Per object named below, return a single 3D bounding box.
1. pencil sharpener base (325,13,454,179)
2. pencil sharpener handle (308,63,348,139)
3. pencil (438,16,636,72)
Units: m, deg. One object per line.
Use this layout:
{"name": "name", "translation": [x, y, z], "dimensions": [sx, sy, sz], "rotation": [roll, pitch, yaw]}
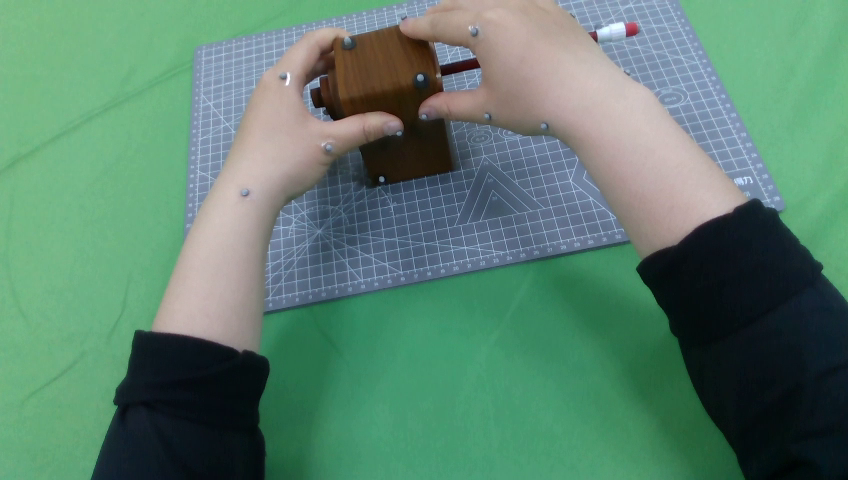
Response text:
{"name": "pencil sharpener base", "translation": [-0.024, -0.102, 0.453], "dimensions": [0.076, 0.108, 0.061], "rotation": [-13, 61, 3]}
{"name": "pencil sharpener handle", "translation": [-0.075, -0.098, 0.445], "dimensions": [0.030, 0.068, 0.035], "rotation": [-13, 63, 3]}
{"name": "pencil", "translation": [0.052, -0.131, 0.426], "dimensions": [0.194, 0.012, 0.012], "rotation": [-12, 61, 3]}
